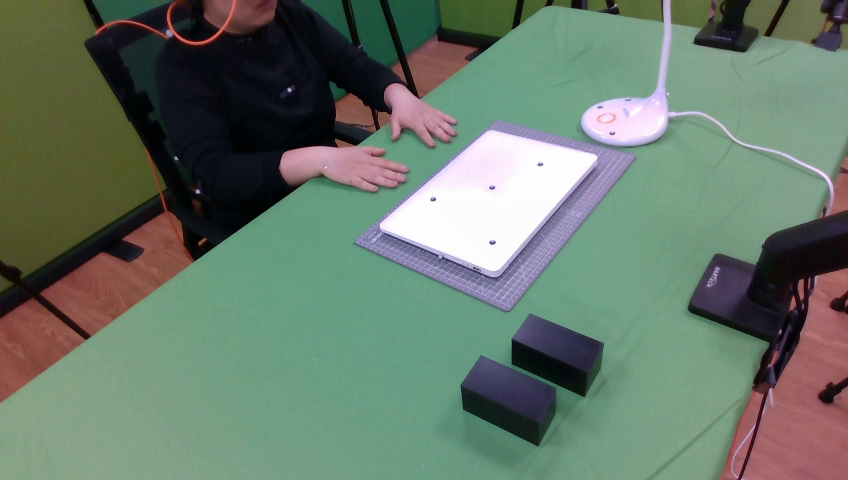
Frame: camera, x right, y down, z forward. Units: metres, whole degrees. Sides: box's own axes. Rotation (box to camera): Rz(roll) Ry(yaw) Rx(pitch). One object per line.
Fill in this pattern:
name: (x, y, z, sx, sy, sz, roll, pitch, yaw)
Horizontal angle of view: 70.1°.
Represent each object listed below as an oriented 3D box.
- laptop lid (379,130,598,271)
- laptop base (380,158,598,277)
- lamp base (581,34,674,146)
laptop lid: (0.117, -0.087, 1.037, 0.240, 0.013, 0.358, 22, 48, 33)
laptop base: (0.120, -0.077, 1.043, 0.233, 0.023, 0.355, 20, 47, 32)
lamp base: (0.392, -0.291, 1.129, 0.180, 0.181, 0.159, -11, 41, -8)
